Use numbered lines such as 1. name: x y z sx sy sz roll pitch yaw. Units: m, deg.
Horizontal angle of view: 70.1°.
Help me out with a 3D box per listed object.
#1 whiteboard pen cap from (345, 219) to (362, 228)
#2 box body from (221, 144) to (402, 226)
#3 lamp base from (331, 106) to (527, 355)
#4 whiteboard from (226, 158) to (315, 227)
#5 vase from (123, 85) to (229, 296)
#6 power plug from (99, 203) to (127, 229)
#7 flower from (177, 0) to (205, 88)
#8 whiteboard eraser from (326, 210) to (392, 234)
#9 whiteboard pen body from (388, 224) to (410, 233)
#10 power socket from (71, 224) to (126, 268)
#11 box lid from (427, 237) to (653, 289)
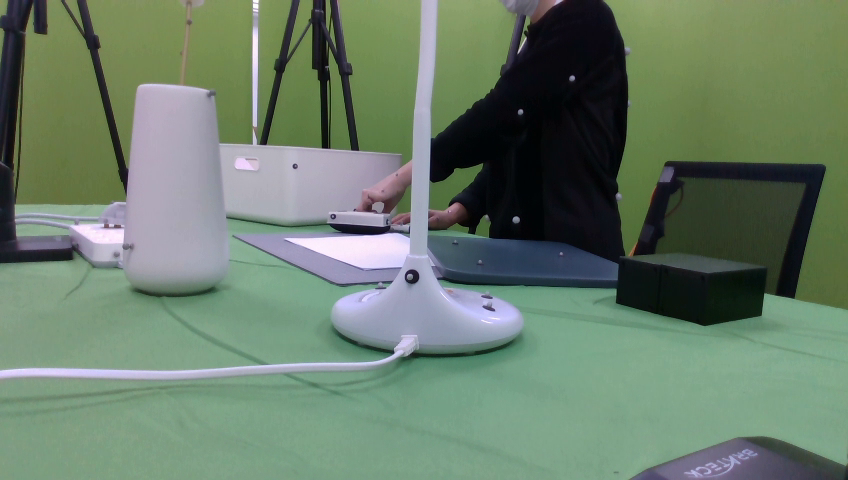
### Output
1. whiteboard pen cap: -0.144 -0.032 1.231 0.033 0.018 0.018 5 8 17
2. box body: -0.254 -0.128 1.379 0.253 0.160 0.366 8 9 36
3. lamp base: 0.006 -0.012 0.478 0.161 0.180 0.179 2 10 2
4. whiteboard: -0.265 -0.117 1.373 0.216 0.143 0.307 5 8 36
5. vase: -0.244 -0.047 0.598 0.098 0.200 0.098 3 8 0
6. power plug: -0.415 -0.026 0.848 0.073 0.052 0.035 6 5 -28
7. flower: -0.243 -0.131 0.609 0.044 0.361 0.038 -5 -12 12
8. whiteboard eraser: -0.121 -0.034 1.131 0.112 0.042 0.056 4 9 13
9. whiteboard pen body: -0.087 -0.027 1.215 0.140 0.017 0.017 6 8 18
10. power socket: -0.409 0.004 0.793 0.072 0.032 0.225 -2 8 -37
11. box lid: 0.139 0.028 0.886 0.264 0.015 0.371 2 7 -6
